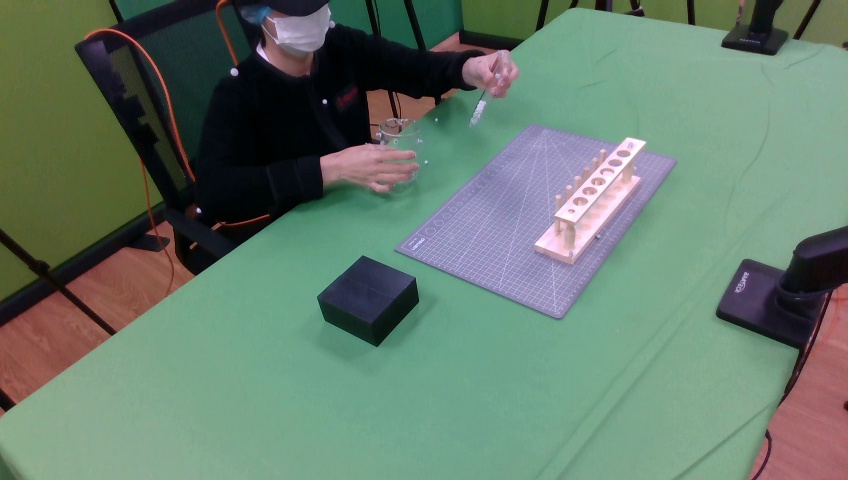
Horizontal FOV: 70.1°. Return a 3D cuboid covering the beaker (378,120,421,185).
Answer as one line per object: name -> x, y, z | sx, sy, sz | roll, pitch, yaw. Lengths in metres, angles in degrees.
beaker -> -0.044, -0.157, 1.087 | 0.074, 0.100, 0.083 | 0, 35, -3

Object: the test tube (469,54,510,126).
test tube -> 0.109, -0.252, 1.030 | 0.017, 0.150, 0.017 | 12, 49, -14

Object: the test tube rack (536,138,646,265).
test tube rack -> 0.268, -0.071, 0.964 | 0.066, 0.085, 0.243 | 23, 49, 32
